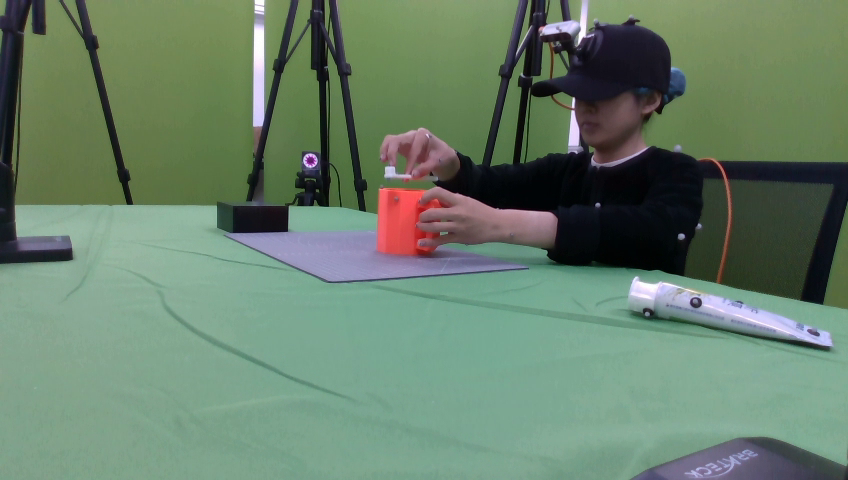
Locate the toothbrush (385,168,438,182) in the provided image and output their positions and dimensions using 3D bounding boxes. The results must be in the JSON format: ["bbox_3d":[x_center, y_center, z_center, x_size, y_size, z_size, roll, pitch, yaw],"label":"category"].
[{"bbox_3d":[-0.016,-0.098,0.931,0.014,0.016,0.182,-5,1,24],"label":"toothbrush"}]

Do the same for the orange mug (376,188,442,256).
[{"bbox_3d":[-0.018,-0.028,0.914,0.084,0.100,0.125,-3,5,-38],"label":"orange mug"}]

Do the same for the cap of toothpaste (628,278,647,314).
[{"bbox_3d":[0.209,0.055,0.589,0.011,0.037,0.037,11,11,28],"label":"cap of toothpaste"}]

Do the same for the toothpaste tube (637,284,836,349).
[{"bbox_3d":[0.275,0.070,0.550,0.164,0.034,0.055,11,15,28],"label":"toothpaste tube"}]
